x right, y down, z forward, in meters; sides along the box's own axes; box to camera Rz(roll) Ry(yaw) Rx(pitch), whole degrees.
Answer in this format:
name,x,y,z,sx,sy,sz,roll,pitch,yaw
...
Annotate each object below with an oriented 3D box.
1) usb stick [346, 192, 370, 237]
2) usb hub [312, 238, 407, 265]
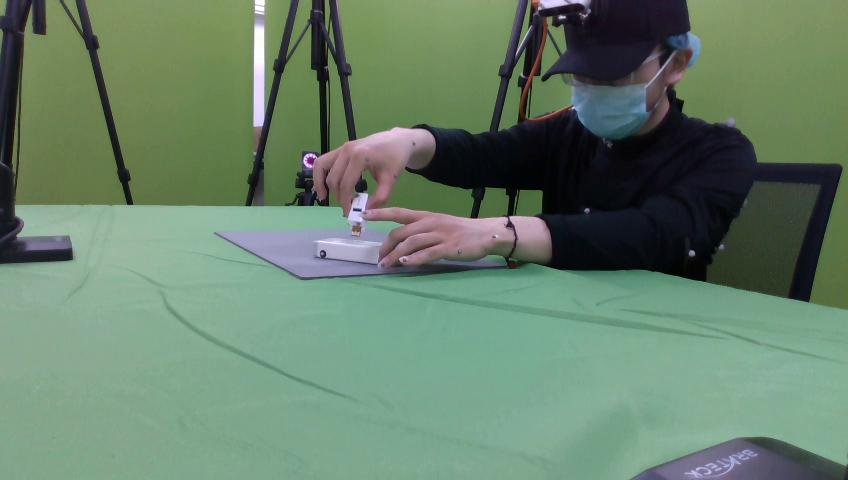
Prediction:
name,x,y,z,sx,sy,sz,roll,pitch,yaw
usb stick,-0.091,-0.034,0.824,0.021,0.059,0.027,7,-20,9
usb hub,-0.089,0.015,0.828,0.125,0.025,0.050,5,7,23
